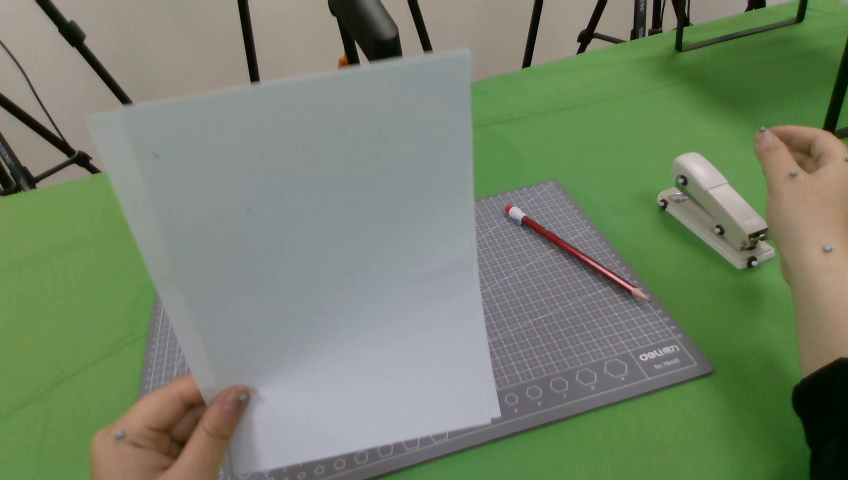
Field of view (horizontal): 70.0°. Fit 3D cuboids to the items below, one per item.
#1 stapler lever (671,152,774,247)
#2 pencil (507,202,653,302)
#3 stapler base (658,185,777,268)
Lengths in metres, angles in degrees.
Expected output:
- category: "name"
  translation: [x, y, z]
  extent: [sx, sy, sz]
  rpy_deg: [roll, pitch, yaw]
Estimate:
- category: "stapler lever"
  translation: [0.276, -0.042, 0.567]
  extent: [0.027, 0.040, 0.116]
  rpy_deg: [-20, 41, -8]
- category: "pencil"
  translation: [0.143, 0.008, 0.581]
  extent: [0.012, 0.012, 0.192]
  rpy_deg: [-28, 42, -21]
- category: "stapler base"
  translation: [0.279, -0.023, 0.584]
  extent: [0.041, 0.025, 0.129]
  rpy_deg: [-20, 41, -9]
